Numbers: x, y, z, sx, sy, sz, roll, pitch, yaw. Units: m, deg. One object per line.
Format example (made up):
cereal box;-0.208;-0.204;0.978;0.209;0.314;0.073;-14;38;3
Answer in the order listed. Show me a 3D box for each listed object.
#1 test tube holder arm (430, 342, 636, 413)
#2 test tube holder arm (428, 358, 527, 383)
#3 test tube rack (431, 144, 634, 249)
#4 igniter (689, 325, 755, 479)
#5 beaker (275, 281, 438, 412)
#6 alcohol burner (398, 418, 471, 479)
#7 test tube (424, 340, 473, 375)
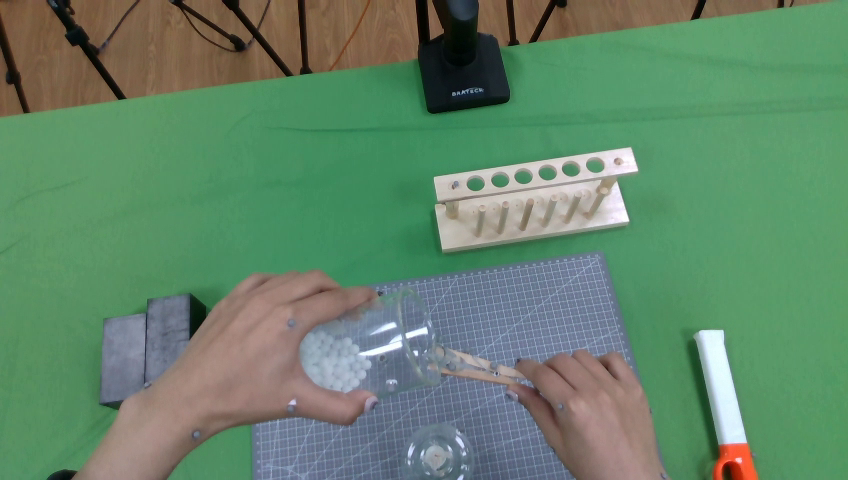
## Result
test tube holder arm;0.090;0.117;0.519;0.177;0.015;0.013;13;81;16
test tube holder arm;0.047;0.115;0.531;0.087;0.015;0.010;5;78;15
test tube rack;0.133;-0.052;0.756;0.242;0.086;0.066;-9;67;-2
igniter;0.334;0.229;0.662;0.057;0.025;0.274;2;67;-8
beaker;-0.048;0.081;0.444;0.100;0.085;0.073;-19;56;13
alcohol burner;0.011;0.221;0.625;0.078;0.120;0.077;0;65;1
test tube;0.025;0.106;0.535;0.017;0.151;0.017;-4;72;13
